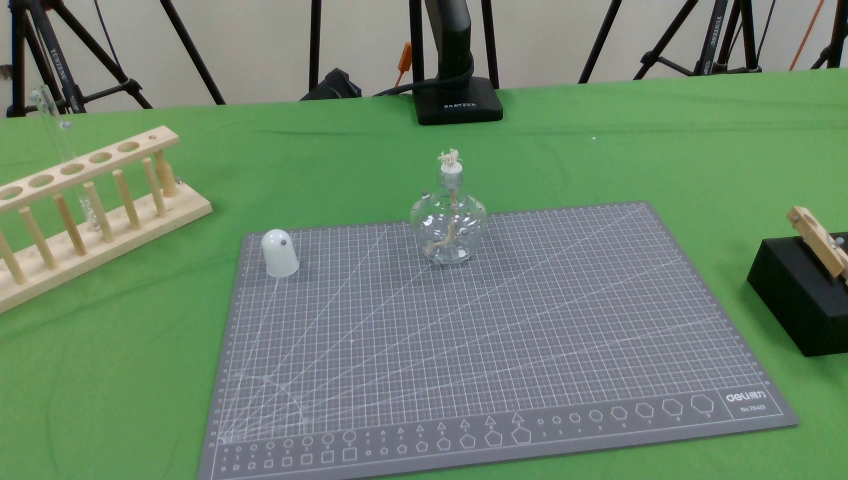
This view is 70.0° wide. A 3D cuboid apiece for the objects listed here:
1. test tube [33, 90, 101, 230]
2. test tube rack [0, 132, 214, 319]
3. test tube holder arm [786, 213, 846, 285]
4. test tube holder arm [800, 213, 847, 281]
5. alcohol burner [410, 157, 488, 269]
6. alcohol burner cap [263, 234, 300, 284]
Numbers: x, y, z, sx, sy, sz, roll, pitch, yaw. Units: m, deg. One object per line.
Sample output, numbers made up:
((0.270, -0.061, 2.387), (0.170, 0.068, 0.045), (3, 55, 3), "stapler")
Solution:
((-0.348, -0.074, 0.598), (0.017, 0.151, 0.017), (-2, 35, 2), "test tube")
((-0.345, -0.019, 0.609), (0.066, 0.086, 0.242), (31, 48, 34), "test tube rack")
((0.352, 0.007, 0.542), (0.010, 0.015, 0.087), (-4, 40, -2), "test tube holder arm")
((0.362, 0.035, 0.509), (0.013, 0.015, 0.176), (-5, 40, -4), "test tube holder arm")
((0.025, -0.030, 0.590), (0.078, 0.120, 0.077), (1, 40, 0), "alcohol burner")
((-0.141, 0.016, 0.593), (0.034, 0.048, 0.033), (0, 39, 0), "alcohol burner cap")
